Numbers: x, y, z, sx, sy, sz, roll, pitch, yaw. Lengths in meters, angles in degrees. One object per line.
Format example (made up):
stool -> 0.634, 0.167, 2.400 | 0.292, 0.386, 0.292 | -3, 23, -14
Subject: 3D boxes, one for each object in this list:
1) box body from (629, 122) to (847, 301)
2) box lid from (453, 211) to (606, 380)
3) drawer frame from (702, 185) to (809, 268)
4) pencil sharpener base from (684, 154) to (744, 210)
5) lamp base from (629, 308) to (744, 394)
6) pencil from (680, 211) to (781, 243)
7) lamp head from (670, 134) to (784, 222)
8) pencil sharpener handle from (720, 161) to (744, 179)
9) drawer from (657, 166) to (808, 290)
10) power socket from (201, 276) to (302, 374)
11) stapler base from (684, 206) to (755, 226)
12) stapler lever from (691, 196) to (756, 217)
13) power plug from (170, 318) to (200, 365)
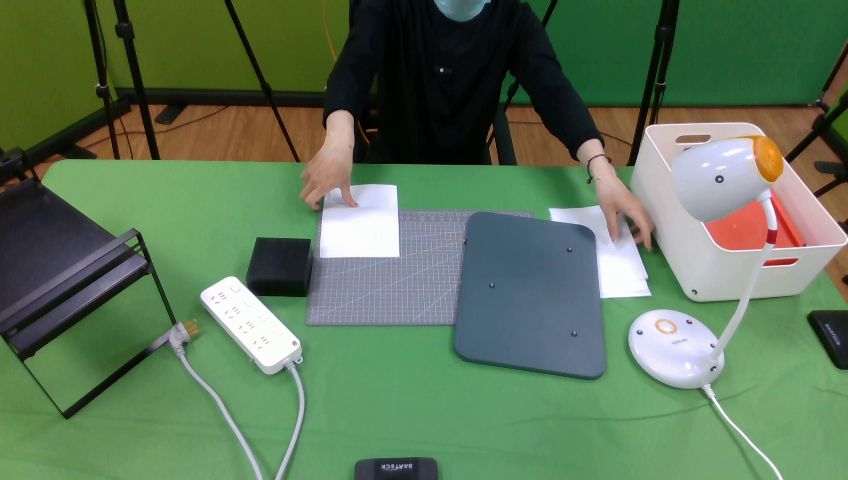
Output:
box body -> 0.593, -0.062, 1.202 | 0.254, 0.161, 0.361 | -3, 47, -7
box lid -> 0.200, 0.085, 1.138 | 0.263, 0.015, 0.369 | 8, 47, 3
drawer frame -> 0.584, -0.023, 1.160 | 0.202, 0.083, 0.212 | -12, 56, 3
pencil sharpener base -> 0.619, -0.124, 1.293 | 0.077, 0.107, 0.061 | -8, 47, -12
lamp base -> 0.446, 0.139, 0.987 | 0.161, 0.181, 0.178 | -18, 53, -20
pencil -> 0.598, -0.028, 1.185 | 0.194, 0.012, 0.012 | 18, 48, 10
lamp head -> 0.422, -0.089, 0.829 | 0.113, 0.123, 0.112 | 8, 74, -32
pencil sharpener handle -> 0.667, -0.147, 1.299 | 0.031, 0.068, 0.036 | -8, 80, -12
drawer -> 0.582, -0.025, 1.163 | 0.194, 0.073, 0.210 | -12, 56, 3
power socket -> -0.297, 0.141, 1.034 | 0.072, 0.033, 0.225 | -34, 58, -30
stapler base -> 0.588, -0.052, 1.204 | 0.130, 0.024, 0.041 | 2, 59, 11
stapler lever -> 0.586, -0.066, 1.184 | 0.118, 0.040, 0.026 | 2, 59, 12
power plug -> -0.392, 0.167, 1.013 | 0.052, 0.035, 0.072 | -31, 89, -23
